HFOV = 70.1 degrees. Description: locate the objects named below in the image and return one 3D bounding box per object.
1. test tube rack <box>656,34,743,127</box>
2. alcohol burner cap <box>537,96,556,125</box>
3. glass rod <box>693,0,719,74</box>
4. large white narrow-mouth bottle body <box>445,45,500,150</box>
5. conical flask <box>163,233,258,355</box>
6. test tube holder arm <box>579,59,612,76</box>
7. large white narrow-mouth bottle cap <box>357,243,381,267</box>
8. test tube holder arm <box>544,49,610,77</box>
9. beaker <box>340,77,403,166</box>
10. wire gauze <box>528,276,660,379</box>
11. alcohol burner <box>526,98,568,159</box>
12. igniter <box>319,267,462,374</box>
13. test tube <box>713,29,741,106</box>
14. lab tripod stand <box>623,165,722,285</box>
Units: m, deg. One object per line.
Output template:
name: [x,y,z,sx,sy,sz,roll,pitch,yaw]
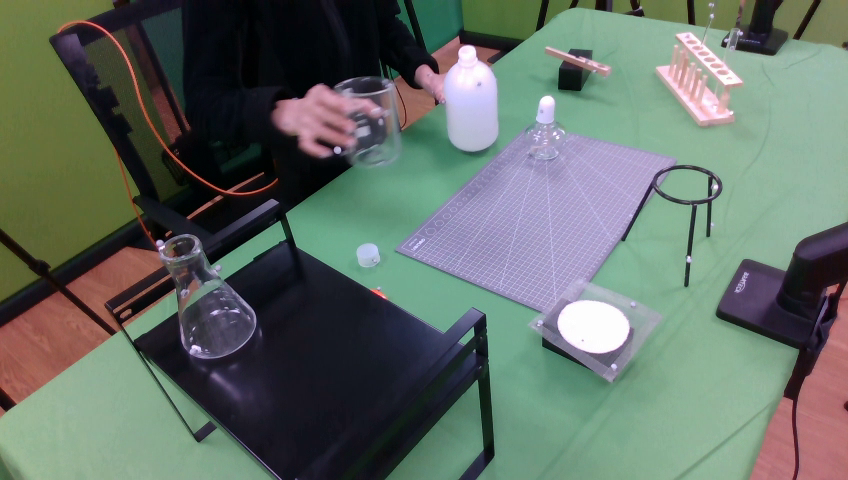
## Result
test tube rack: [0.553,-0.330,1.233,0.067,0.085,0.241,-7,40,2]
alcohol burner cap: [0.223,-0.237,1.095,0.034,0.048,0.033,-1,42,1]
glass rod: [0.560,-0.401,1.214,0.008,0.200,0.008,-1,48,2]
large white narrow-mouth bottle body: [0.090,-0.268,1.122,0.102,0.195,0.101,-4,50,5]
conical flask: [-0.217,0.051,0.601,0.075,0.122,0.075,-4,40,4]
test tube holder arm: [0.363,-0.368,1.289,0.010,0.015,0.087,-26,43,-31]
large white narrow-mouth bottle cap: [-0.088,0.023,0.972,0.038,0.024,0.037,-4,41,4]
test tube holder arm: [0.330,-0.386,1.314,0.013,0.015,0.177,-25,43,-31]
beaker: [-0.064,-0.157,0.800,0.084,0.100,0.073,-27,39,-33]
wire gauze: [0.213,0.103,0.763,0.124,0.011,0.122,30,52,35]
alcohol burner: [0.228,-0.210,1.118,0.078,0.119,0.077,-5,43,5]
igniter: [-0.059,0.107,0.862,0.274,0.025,0.057,28,62,34]
test tube: [0.572,-0.324,1.146,0.017,0.151,0.017,-3,39,3]
lab tripod stand: [0.365,-0.030,0.874,0.148,0.132,0.147,-6,41,6]
